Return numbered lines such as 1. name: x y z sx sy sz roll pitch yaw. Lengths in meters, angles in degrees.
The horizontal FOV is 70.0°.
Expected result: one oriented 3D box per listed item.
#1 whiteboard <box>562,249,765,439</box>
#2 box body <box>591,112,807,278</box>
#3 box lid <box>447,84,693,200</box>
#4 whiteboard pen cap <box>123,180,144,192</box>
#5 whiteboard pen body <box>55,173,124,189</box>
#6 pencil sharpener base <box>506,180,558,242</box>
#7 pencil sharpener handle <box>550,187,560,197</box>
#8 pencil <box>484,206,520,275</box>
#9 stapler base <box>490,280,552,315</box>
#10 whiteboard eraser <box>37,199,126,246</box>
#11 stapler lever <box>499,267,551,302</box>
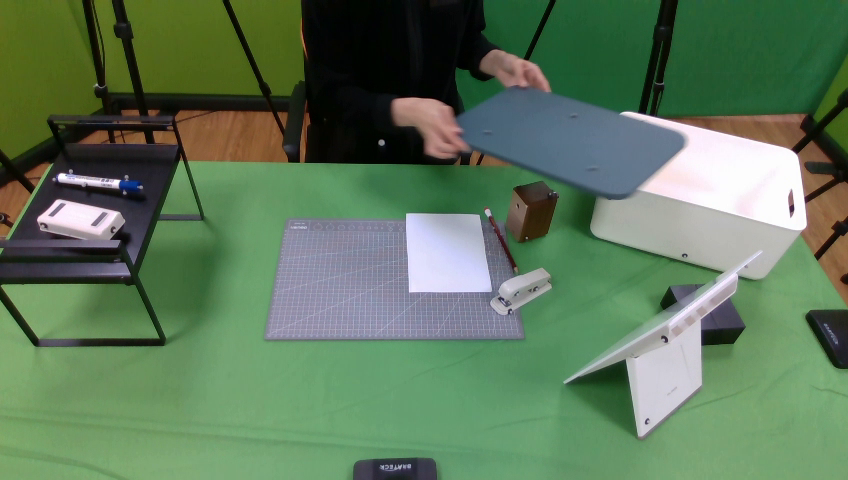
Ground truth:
1. whiteboard: 0.386 0.176 0.905 0.217 0.306 0.143 -26 72 -26
2. box body: 0.540 -0.093 1.229 0.363 0.161 0.253 16 47 11
3. box lid: 0.254 -0.186 1.068 0.369 0.015 0.263 26 46 31
4. whiteboard pen cap: -0.479 -0.089 0.993 0.033 0.018 0.018 7 46 14
5. whiteboard pen body: -0.539 -0.095 0.998 0.141 0.017 0.017 6 46 6
6. pencil sharpener base: 0.216 -0.058 1.211 0.077 0.107 0.061 -16 49 -19
7. pencil sharpener handle: 0.261 -0.084 1.222 0.031 0.068 0.036 -16 68 -19
8. pencil: 0.156 -0.002 1.218 0.012 0.012 0.192 -10 48 -13
9. stapler base: 0.181 0.094 1.118 0.130 0.024 0.041 -24 55 -29
10. whiteboard eraser: -0.518 -0.025 0.918 0.112 0.042 0.055 12 49 7
11. stapler lever: 0.185 0.076 1.101 0.118 0.040 0.026 -24 55 -29
